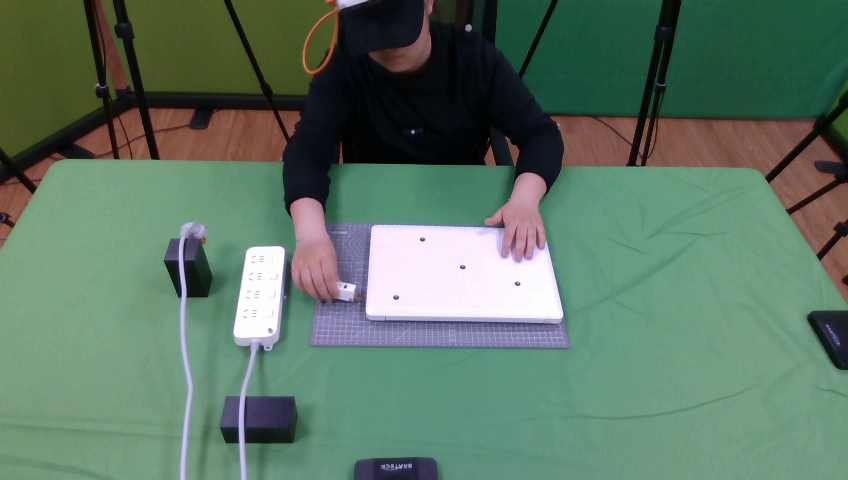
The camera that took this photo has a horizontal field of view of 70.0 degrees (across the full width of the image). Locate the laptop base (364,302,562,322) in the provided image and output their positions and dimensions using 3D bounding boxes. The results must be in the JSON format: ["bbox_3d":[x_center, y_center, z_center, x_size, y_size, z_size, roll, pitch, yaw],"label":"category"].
[{"bbox_3d":[0.070,0.063,1.145,0.354,0.023,0.234,1,43,-3],"label":"laptop base"}]

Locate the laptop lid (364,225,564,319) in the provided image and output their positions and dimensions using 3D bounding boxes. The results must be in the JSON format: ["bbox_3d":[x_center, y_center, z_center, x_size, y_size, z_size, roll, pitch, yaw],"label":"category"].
[{"bbox_3d":[0.070,0.053,1.138,0.357,0.013,0.240,3,44,-2],"label":"laptop lid"}]

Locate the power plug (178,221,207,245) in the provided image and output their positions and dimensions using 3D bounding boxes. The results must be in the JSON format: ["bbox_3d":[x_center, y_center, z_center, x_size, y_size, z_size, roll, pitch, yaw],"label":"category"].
[{"bbox_3d":[-0.413,-0.002,1.069,0.035,0.053,0.072,-1,41,23],"label":"power plug"}]

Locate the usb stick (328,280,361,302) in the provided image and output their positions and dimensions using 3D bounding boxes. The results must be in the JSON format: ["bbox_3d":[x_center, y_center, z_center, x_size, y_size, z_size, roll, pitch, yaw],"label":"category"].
[{"bbox_3d":[-0.140,0.092,1.079,0.059,0.027,0.021,15,36,-1],"label":"usb stick"}]

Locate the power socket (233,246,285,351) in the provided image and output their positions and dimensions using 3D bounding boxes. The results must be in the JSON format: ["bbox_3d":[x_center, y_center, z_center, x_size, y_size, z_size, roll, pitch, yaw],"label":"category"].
[{"bbox_3d":[-0.290,0.094,1.077,0.072,0.033,0.225,-2,47,-5],"label":"power socket"}]
